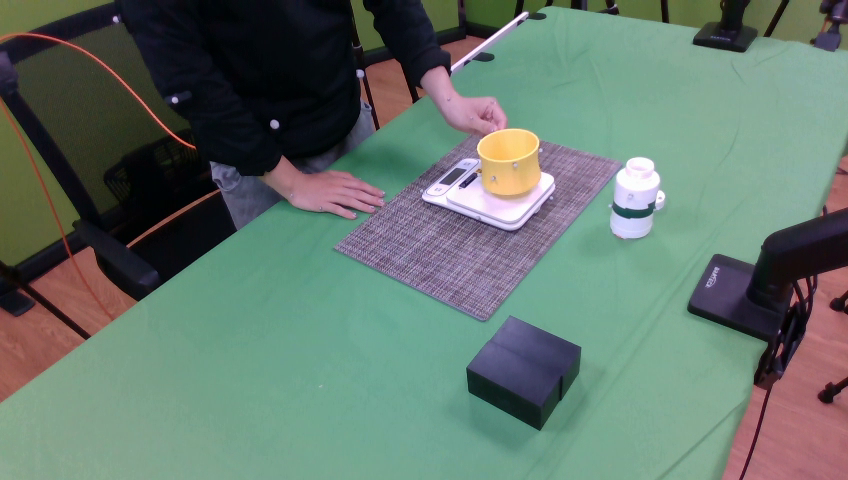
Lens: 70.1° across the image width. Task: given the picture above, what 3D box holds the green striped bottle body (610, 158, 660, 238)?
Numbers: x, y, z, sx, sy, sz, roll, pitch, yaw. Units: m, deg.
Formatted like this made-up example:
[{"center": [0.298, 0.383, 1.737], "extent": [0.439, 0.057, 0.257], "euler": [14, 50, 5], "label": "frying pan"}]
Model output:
[{"center": [0.323, -0.066, 0.924], "extent": [0.063, 0.120, 0.063], "euler": [-4, 41, 4], "label": "green striped bottle body"}]

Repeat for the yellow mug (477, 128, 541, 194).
[{"center": [0.135, -0.138, 0.992], "extent": [0.100, 0.064, 0.130], "euler": [-16, 38, -5], "label": "yellow mug"}]

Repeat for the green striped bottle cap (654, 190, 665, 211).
[{"center": [0.375, -0.066, 0.998], "extent": [0.044, 0.020, 0.044], "euler": [-8, 38, 7], "label": "green striped bottle cap"}]

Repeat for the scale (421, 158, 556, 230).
[{"center": [0.110, -0.089, 1.042], "extent": [0.199, 0.032, 0.149], "euler": [23, 48, 31], "label": "scale"}]
